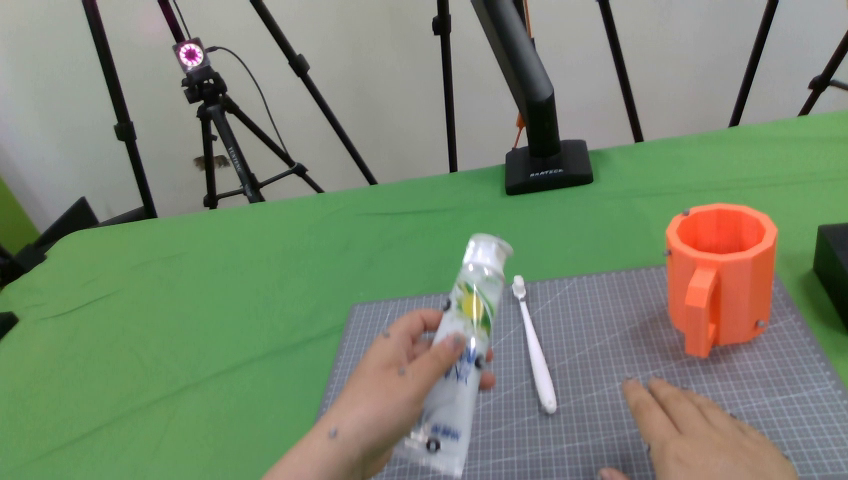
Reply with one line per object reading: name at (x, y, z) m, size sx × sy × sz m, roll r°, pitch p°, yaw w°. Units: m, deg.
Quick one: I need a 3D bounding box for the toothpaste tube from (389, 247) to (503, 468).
toothpaste tube at (0.024, 0.076, 0.445) m, size 0.055 × 0.035 × 0.164 m, roll 12°, pitch 70°, yaw 20°

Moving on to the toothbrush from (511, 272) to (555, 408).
toothbrush at (0.104, 0.090, 0.589) m, size 0.014 × 0.017 × 0.180 m, roll 0°, pitch 35°, yaw -2°

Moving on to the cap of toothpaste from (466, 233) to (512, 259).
cap of toothpaste at (0.050, 0.006, 0.468) m, size 0.037 × 0.038 × 0.011 m, roll 6°, pitch 68°, yaw 31°

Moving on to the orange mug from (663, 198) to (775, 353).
orange mug at (0.252, 0.035, 0.531) m, size 0.083 × 0.101 × 0.126 m, roll 10°, pitch 37°, yaw 35°
